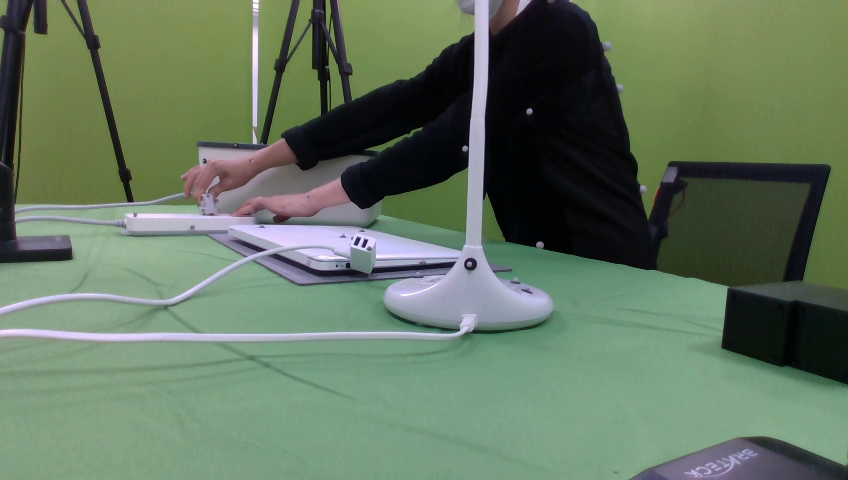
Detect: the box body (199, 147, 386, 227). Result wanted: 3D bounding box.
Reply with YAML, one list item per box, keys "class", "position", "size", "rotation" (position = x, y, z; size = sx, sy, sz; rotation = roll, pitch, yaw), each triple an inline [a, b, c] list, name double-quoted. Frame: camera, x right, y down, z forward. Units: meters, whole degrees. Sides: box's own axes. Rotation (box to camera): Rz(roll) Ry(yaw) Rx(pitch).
- class: "box body"
  position: [-0.277, -0.124, 1.335]
  size: [0.364, 0.160, 0.254]
  rotation: [3, 7, 1]

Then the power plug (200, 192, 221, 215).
- class: "power plug"
  position: [-0.385, -0.058, 1.088]
  size: [0.035, 0.052, 0.072]
  rotation: [1, 11, -20]

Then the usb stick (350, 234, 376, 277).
- class: "usb stick"
  position: [-0.069, 0.020, 0.689]
  size: [0.027, 0.059, 0.021]
  rotation: [13, 54, 8]

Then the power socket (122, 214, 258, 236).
- class: "power socket"
  position: [-0.399, -0.028, 1.049]
  size: [0.228, 0.032, 0.072]
  rotation: [-2, 8, -33]

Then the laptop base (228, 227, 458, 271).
- class: "laptop base"
  position: [-0.122, 0.011, 0.889]
  size: [0.237, 0.023, 0.352]
  rotation: [2, 6, -35]

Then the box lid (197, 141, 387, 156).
- class: "box lid"
  position: [-0.275, -0.198, 1.325]
  size: [0.372, 0.015, 0.263]
  rotation: [3, 8, 1]

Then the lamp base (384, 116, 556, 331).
- class: "lamp base"
  position: [0.046, -0.019, 0.545]
  size: [0.161, 0.180, 0.179]
  rotation: [2, 10, -4]

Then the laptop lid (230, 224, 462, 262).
- class: "laptop lid"
  position: [-0.120, 0.000, 0.888]
  size: [0.243, 0.013, 0.355]
  rotation: [1, 7, -33]
